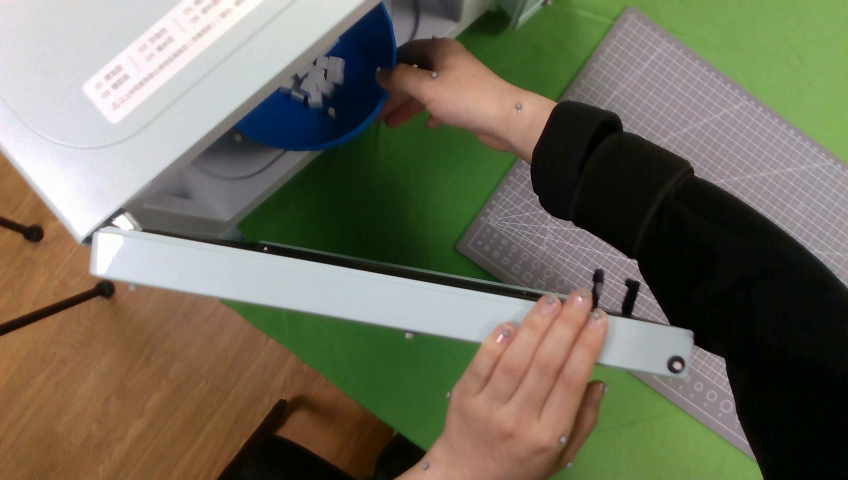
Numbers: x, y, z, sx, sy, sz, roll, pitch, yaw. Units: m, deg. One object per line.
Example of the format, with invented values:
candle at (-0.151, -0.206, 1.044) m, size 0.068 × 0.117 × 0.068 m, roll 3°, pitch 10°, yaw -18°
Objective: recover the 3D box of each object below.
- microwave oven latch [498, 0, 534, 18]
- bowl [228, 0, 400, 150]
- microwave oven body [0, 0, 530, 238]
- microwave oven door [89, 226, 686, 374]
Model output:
microwave oven latch at (0.108, -0.248, 0.573) m, size 0.079 × 0.029 × 0.030 m, roll -39°, pitch 91°, yaw -1°
bowl at (-0.094, -0.141, 0.493) m, size 0.151 × 0.077 × 0.151 m, roll 0°, pitch 87°, yaw -2°
microwave oven body at (-0.122, -0.245, 0.470) m, size 0.441 × 0.260 × 0.326 m, roll -41°, pitch 91°, yaw -1°
microwave oven door at (-0.021, 0.035, 0.468) m, size 0.356 × 0.244 × 0.039 m, roll 10°, pitch 89°, yaw -2°
